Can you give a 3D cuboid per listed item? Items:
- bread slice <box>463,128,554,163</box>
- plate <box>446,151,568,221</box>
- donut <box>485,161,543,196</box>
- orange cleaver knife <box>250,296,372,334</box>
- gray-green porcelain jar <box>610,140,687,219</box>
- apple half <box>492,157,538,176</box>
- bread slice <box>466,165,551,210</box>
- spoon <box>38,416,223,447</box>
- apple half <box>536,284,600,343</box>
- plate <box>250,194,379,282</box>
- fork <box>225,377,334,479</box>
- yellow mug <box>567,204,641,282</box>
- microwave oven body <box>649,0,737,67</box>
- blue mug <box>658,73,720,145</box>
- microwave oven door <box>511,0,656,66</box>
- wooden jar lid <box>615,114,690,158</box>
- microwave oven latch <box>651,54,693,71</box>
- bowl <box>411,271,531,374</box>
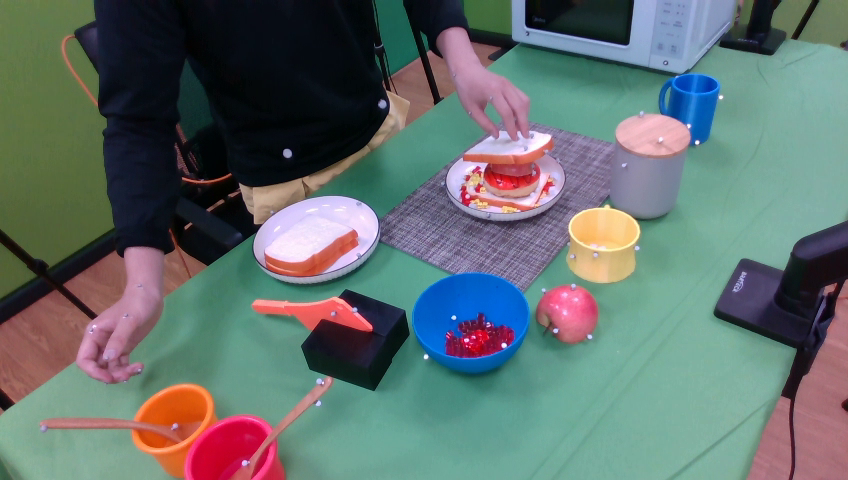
[{"bbox_3d":[0.142,-0.154,0.974,0.130,0.019,0.105,12,37,42],"label":"bread slice"},{"bbox_3d":[0.143,-0.097,1.045,0.207,0.039,0.206,-4,40,4],"label":"plate"},{"bbox_3d":[0.151,-0.112,1.018,0.099,0.048,0.098,-4,41,4],"label":"donut"},{"bbox_3d":[-0.158,0.103,0.828,0.210,0.078,0.012,-4,43,39],"label":"orange cleaver knife"},{"bbox_3d":[0.354,-0.106,0.964,0.106,0.127,0.105,-4,41,4],"label":"gray-green porcelain jar"},{"bbox_3d":[0.149,-0.140,0.996,0.081,0.033,0.081,0,39,0],"label":"apple half"},{"bbox_3d":[0.141,-0.093,1.041,0.133,0.018,0.107,8,42,20],"label":"bread slice"},{"bbox_3d":[-0.320,0.209,0.677,0.021,0.195,0.041,-53,41,15],"label":"spoon"},{"bbox_3d":[0.196,0.091,0.815,0.075,0.053,0.080,-22,42,-20],"label":"apple half"},{"bbox_3d":[-0.174,-0.001,0.984,0.209,0.038,0.208,-3,40,3],"label":"plate"},{"bbox_3d":[-0.163,0.216,0.646,0.207,0.019,0.028,-49,42,16],"label":"fork"},{"bbox_3d":[0.268,-0.005,0.905,0.099,0.064,0.130,6,42,15],"label":"yellow mug"},{"bbox_3d":[0.475,-0.602,1.411,0.438,0.261,0.327,23,50,32],"label":"microwave oven body"},{"bbox_3d":[0.483,-0.250,1.127,0.082,0.106,0.115,-26,44,-19],"label":"blue mug"},{"bbox_3d":[0.350,-0.539,1.348,0.353,0.245,0.039,24,50,31],"label":"microwave oven door"},{"bbox_3d":[0.347,-0.155,0.923,0.108,0.021,0.108,-3,44,4],"label":"wooden jar lid"},{"bbox_3d":[0.531,-0.386,1.301,0.078,0.029,0.030,26,51,33],"label":"microwave oven latch"},{"bbox_3d":[0.062,0.119,0.780,0.151,0.077,0.150,-4,40,4],"label":"bowl"}]
